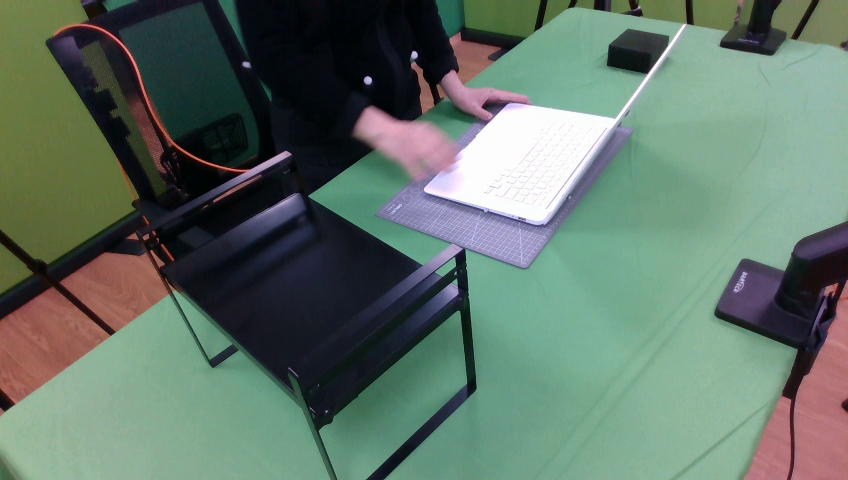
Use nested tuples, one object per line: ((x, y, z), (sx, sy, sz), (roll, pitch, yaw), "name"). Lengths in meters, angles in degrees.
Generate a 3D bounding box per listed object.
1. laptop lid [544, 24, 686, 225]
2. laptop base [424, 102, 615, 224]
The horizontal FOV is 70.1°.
((0.315, -0.190, 0.987), (0.013, 0.241, 0.357), (35, 51, 9), "laptop lid")
((0.188, -0.156, 1.131), (0.234, 0.023, 0.355), (16, 46, 30), "laptop base")
